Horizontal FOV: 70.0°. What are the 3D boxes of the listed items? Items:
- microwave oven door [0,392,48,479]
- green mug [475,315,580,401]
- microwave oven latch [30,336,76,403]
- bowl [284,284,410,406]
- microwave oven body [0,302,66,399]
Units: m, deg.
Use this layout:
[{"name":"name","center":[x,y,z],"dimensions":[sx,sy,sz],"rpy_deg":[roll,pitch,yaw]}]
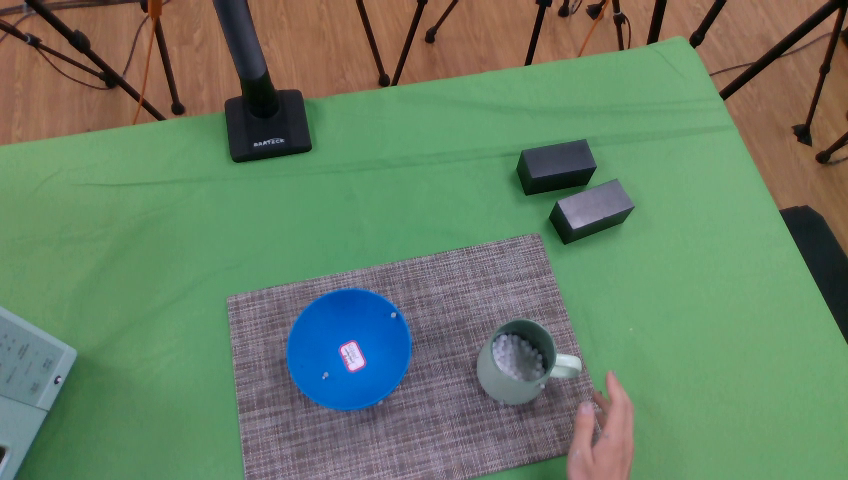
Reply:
[{"name":"microwave oven door","center":[-0.513,0.303,0.558],"dimensions":[0.039,0.245,0.353],"rpy_deg":[14,65,5]},{"name":"green mug","center":[0.129,0.148,0.751],"dimensions":[0.125,0.105,0.092],"rpy_deg":[6,64,0]},{"name":"microwave oven latch","center":[-0.458,0.156,0.740],"dimensions":[0.030,0.030,0.078],"rpy_deg":[16,66,4]},{"name":"bowl","center":[-0.093,0.139,0.759],"dimensions":[0.151,0.077,0.150],"rpy_deg":[1,65,-2]},{"name":"microwave oven body","center":[-0.643,0.232,0.589],"dimensions":[0.326,0.262,0.439],"rpy_deg":[15,66,4]}]
